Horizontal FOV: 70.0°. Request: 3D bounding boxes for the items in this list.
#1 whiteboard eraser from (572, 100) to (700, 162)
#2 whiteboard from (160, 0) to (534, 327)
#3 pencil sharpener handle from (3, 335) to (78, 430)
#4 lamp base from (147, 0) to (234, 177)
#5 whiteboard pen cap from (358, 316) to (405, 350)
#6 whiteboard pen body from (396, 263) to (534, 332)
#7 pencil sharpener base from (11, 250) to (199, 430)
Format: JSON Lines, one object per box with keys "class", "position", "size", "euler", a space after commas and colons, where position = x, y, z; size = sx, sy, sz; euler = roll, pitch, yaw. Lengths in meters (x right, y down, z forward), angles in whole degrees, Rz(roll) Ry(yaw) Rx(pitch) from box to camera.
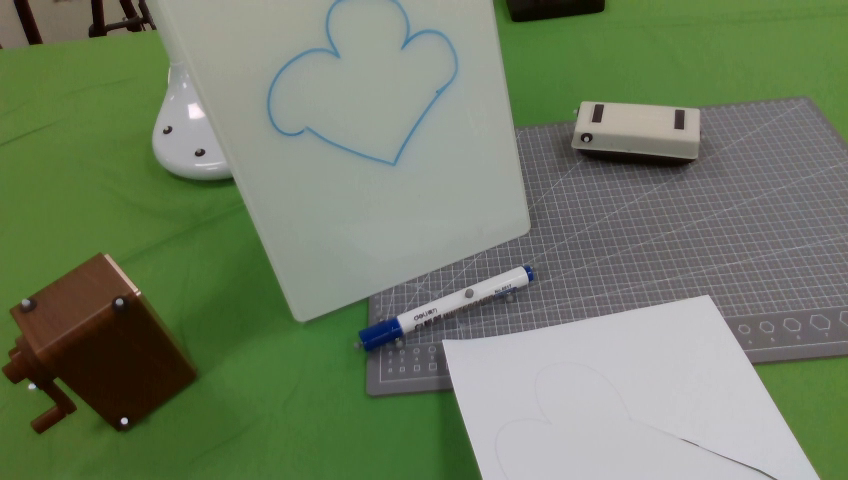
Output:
{"class": "whiteboard eraser", "position": [0.201, -0.103, 0.576], "size": [0.112, 0.042, 0.055], "euler": [9, 50, 15]}
{"class": "whiteboard", "position": [-0.059, -0.124, 0.494], "size": [0.217, 0.308, 0.142], "euler": [-21, 29, -10]}
{"class": "pencil sharpener handle", "position": [-0.258, 0.096, 0.397], "size": [0.030, 0.068, 0.035], "euler": [-39, 42, -24]}
{"class": "lamp base", "position": [-0.232, -0.182, 0.614], "size": [0.177, 0.182, 0.160], "euler": [27, 56, 31]}
{"class": "whiteboard pen cap", "position": [-0.032, 0.070, 0.462], "size": [0.033, 0.018, 0.018], "euler": [-22, 49, -11]}
{"class": "whiteboard pen body", "position": [0.022, 0.049, 0.472], "size": [0.141, 0.017, 0.017], "euler": [-21, 48, -10]}
{"class": "pencil sharpener base", "position": [-0.222, 0.074, 0.430], "size": [0.076, 0.108, 0.061], "euler": [-39, 54, -24]}
